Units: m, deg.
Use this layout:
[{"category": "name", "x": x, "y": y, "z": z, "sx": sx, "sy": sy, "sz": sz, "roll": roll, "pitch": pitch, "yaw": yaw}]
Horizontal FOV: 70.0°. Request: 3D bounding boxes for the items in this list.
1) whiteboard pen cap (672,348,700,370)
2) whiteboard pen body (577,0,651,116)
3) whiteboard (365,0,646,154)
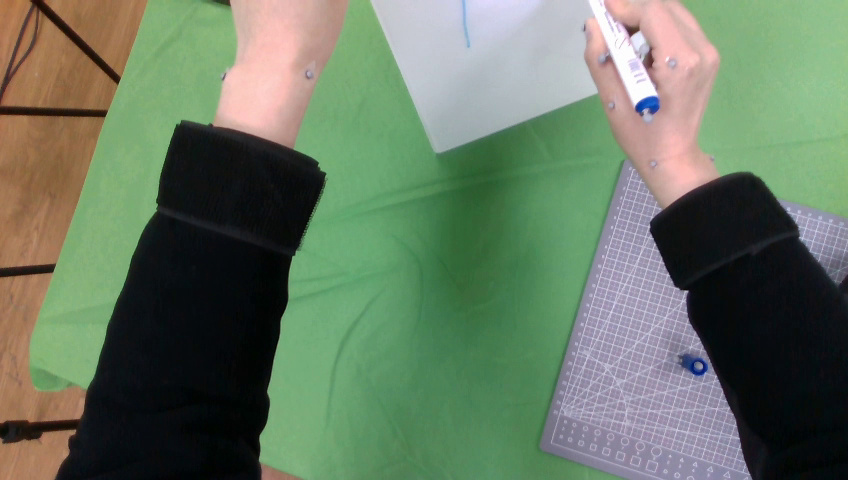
[{"category": "whiteboard pen cap", "x": 0.248, "y": 0.112, "z": 0.575, "sx": 0.018, "sy": 0.033, "sz": 0.018, "roll": 0, "pitch": 90, "yaw": 5}, {"category": "whiteboard pen body", "x": 0.124, "y": -0.142, "z": 0.413, "sx": 0.017, "sy": 0.017, "sz": 0.139, "roll": -15, "pitch": 63, "yaw": 5}, {"category": "whiteboard", "x": 0.056, "y": -0.237, "z": 0.496, "sx": 0.217, "sy": 0.308, "sz": 0.142, "roll": -19, "pitch": 67, "yaw": 5}]
